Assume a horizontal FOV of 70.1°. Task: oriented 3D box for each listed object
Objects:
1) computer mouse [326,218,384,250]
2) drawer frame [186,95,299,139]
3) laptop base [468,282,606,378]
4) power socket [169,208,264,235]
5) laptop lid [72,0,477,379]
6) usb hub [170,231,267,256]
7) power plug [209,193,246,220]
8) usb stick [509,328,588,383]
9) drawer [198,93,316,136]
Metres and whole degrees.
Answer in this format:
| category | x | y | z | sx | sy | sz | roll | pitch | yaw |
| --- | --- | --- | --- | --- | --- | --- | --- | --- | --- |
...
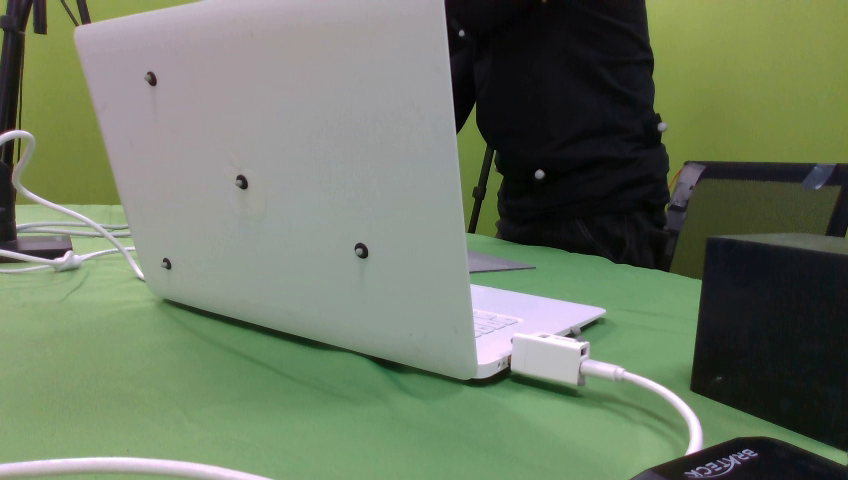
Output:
| category | x | y | z | sx | sy | sz | roll | pitch | yaw |
| --- | --- | --- | --- | --- | --- | --- | --- | --- | --- |
| computer mouse | -0.104 | -0.011 | 0.935 | 0.063 | 0.041 | 0.117 | 6 | 13 | 11 |
| drawer frame | -0.416 | -0.276 | 1.376 | 0.203 | 0.082 | 0.212 | -3 | 8 | -33 |
| laptop base | -0.042 | 0.058 | 0.554 | 0.352 | 0.023 | 0.237 | 7 | 7 | 35 |
| power socket | -0.381 | -0.038 | 1.128 | 0.072 | 0.032 | 0.227 | 4 | 8 | 16 |
| laptop lid | -0.125 | -0.042 | 0.417 | 0.355 | 0.241 | 0.013 | 9 | 25 | 34 |
| usb hub | -0.290 | 0.004 | 0.862 | 0.049 | 0.025 | 0.126 | 11 | 11 | 42 |
| power plug | -0.388 | -0.067 | 1.205 | 0.072 | 0.052 | 0.035 | 4 | 8 | 27 |
| usb stick | 0.072 | 0.071 | 0.383 | 0.059 | 0.027 | 0.021 | 2 | 2 | 35 |
| drawer | -0.363 | -0.264 | 1.299 | 0.195 | 0.073 | 0.210 | -3 | 9 | -33 |
